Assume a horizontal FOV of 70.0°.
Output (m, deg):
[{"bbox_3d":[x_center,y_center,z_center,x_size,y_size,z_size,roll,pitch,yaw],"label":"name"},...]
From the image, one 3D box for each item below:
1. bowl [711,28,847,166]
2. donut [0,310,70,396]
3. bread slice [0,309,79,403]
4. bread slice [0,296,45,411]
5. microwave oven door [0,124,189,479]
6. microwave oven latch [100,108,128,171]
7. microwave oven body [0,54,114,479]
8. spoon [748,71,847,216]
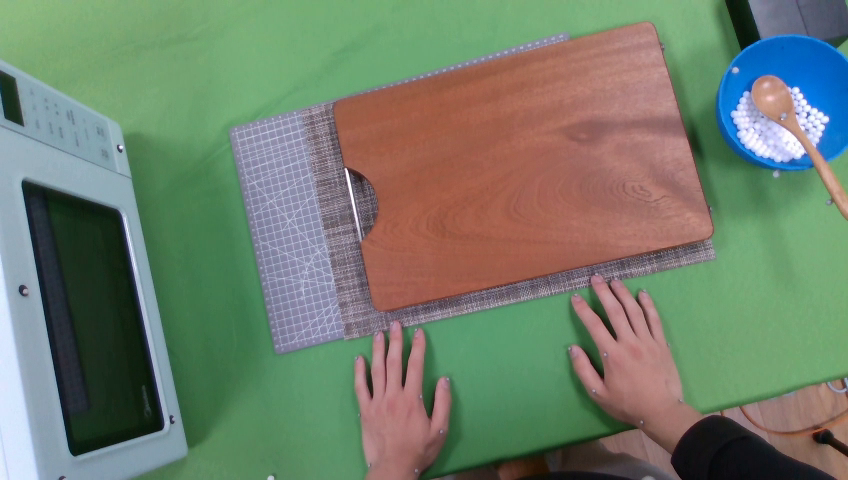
[{"bbox_3d":[0.391,-0.149,0.680,0.151,0.077,0.151,-1,84,7],"label":"bowl"},{"bbox_3d":[-0.453,0.127,0.682,0.099,0.048,0.099,-1,99,-8],"label":"donut"},{"bbox_3d":[-0.482,0.142,0.715,0.132,0.019,0.105,-7,90,-5],"label":"bread slice"},{"bbox_3d":[-0.463,0.135,0.633,0.134,0.018,0.106,-32,84,16],"label":"bread slice"},{"bbox_3d":[-0.358,0.072,0.637,0.039,0.244,0.354,-17,82,5],"label":"microwave oven door"},{"bbox_3d":[-0.402,-0.124,0.768,0.030,0.029,0.079,-17,83,4],"label":"microwave oven latch"},{"bbox_3d":[-0.509,0.073,0.659,0.326,0.261,0.440,-16,82,4],"label":"microwave oven body"},{"bbox_3d":[0.401,-0.106,0.644,0.041,0.022,0.192,-15,59,2],"label":"spoon"}]
